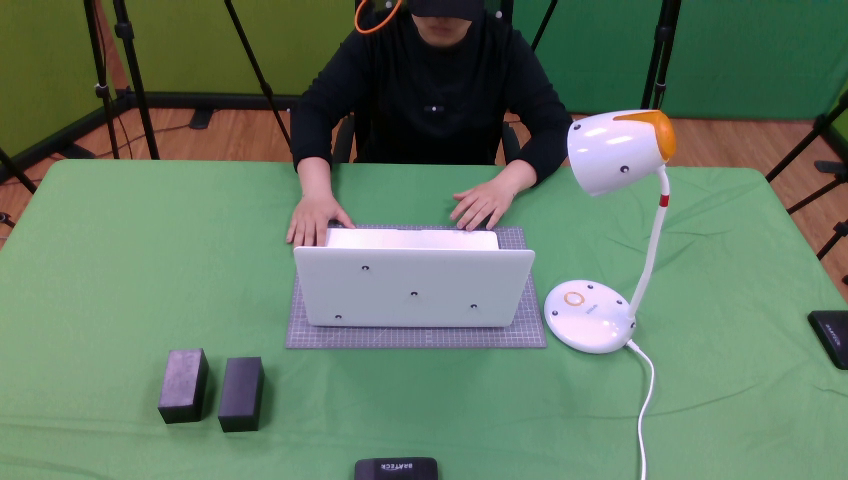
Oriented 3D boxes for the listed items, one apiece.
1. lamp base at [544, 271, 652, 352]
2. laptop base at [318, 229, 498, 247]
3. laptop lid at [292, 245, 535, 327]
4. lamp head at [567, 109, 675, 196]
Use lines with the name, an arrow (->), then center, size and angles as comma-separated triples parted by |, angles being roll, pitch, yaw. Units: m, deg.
lamp base -> 0.310, 0.086, 1.029 | 0.178, 0.181, 0.160 | 32, 52, 21
laptop base -> -0.027, 0.066, 1.134 | 0.355, 0.023, 0.234 | 1, 42, -4
laptop lid -> -0.018, 0.080, 0.956 | 0.357, 0.243, 0.013 | 2, 54, -5
lamp head -> 0.272, -0.123, 0.818 | 0.122, 0.113, 0.112 | -9, 35, 37
